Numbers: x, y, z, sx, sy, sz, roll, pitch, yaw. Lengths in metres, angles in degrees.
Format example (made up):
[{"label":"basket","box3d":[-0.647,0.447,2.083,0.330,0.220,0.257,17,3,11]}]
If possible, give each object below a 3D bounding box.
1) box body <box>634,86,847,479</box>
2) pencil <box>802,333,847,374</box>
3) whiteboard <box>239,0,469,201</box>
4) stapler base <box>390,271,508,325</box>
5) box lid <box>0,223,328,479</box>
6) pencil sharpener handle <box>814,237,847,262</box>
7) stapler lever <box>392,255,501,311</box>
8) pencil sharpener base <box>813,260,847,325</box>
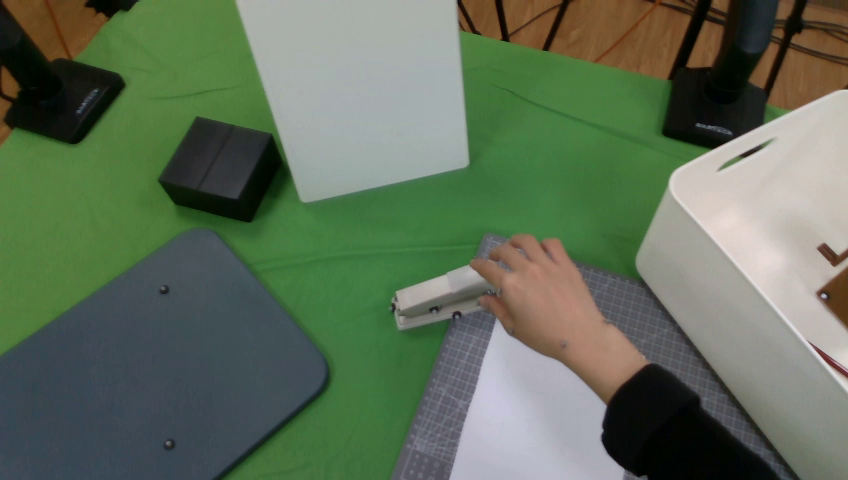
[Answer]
[{"label":"box body","box3d":[0.411,0.063,0.577,0.254,0.161,0.360,-25,64,-13]},{"label":"pencil","box3d":[0.446,0.143,0.613,0.012,0.012,0.192,-40,65,-19]},{"label":"whiteboard","box3d":[-0.077,-0.229,0.701,0.217,0.308,0.142,-13,42,-5]},{"label":"stapler base","box3d":[0.027,0.057,0.665,0.130,0.024,0.041,-14,57,-3]},{"label":"box lid","box3d":[-0.313,0.162,0.624,0.371,0.015,0.261,-39,67,-19]},{"label":"pencil sharpener handle","box3d":[0.437,-0.005,0.625,0.036,0.068,0.030,-18,60,-27]},{"label":"stapler lever","box3d":[0.024,0.045,0.643,0.118,0.040,0.026,-14,57,-3]},{"label":"pencil sharpener base","box3d":[0.465,0.039,0.615,0.061,0.108,0.076,-25,63,-14]}]
